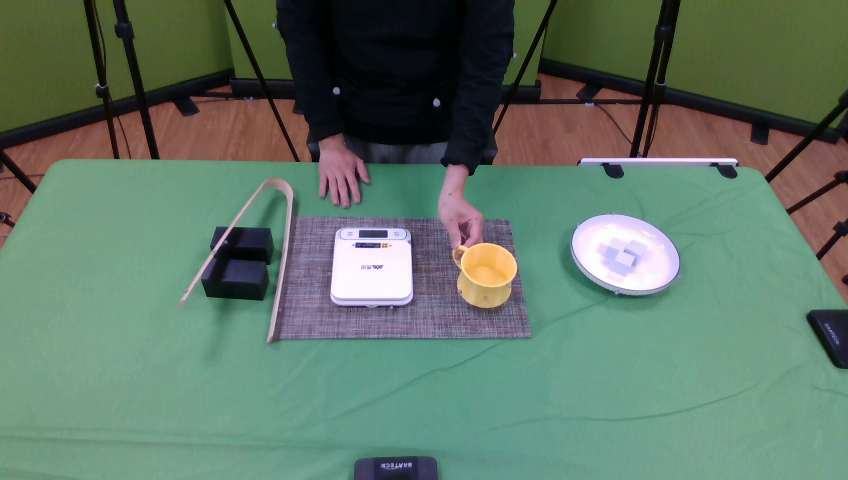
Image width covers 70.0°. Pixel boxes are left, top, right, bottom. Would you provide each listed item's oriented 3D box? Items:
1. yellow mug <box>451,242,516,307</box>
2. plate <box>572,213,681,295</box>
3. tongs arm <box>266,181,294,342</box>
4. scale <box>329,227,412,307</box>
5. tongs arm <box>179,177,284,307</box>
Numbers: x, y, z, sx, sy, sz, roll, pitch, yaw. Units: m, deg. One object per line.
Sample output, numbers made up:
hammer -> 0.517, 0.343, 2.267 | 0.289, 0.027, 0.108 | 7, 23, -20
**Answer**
yellow mug -> 0.098, 0.053, 1.087 | 0.130, 0.064, 0.100 | 36, 55, 25
plate -> 0.392, 0.030, 1.189 | 0.208, 0.039, 0.206 | 2, 46, -2
tongs arm -> -0.273, 0.027, 1.144 | 0.028, 0.028, 0.385 | 17, 42, -22
scale -> -0.099, 0.042, 1.139 | 0.149, 0.032, 0.199 | 1, 46, -4
tongs arm -> -0.342, -0.008, 1.117 | 0.051, 0.026, 0.382 | 29, 38, -14
